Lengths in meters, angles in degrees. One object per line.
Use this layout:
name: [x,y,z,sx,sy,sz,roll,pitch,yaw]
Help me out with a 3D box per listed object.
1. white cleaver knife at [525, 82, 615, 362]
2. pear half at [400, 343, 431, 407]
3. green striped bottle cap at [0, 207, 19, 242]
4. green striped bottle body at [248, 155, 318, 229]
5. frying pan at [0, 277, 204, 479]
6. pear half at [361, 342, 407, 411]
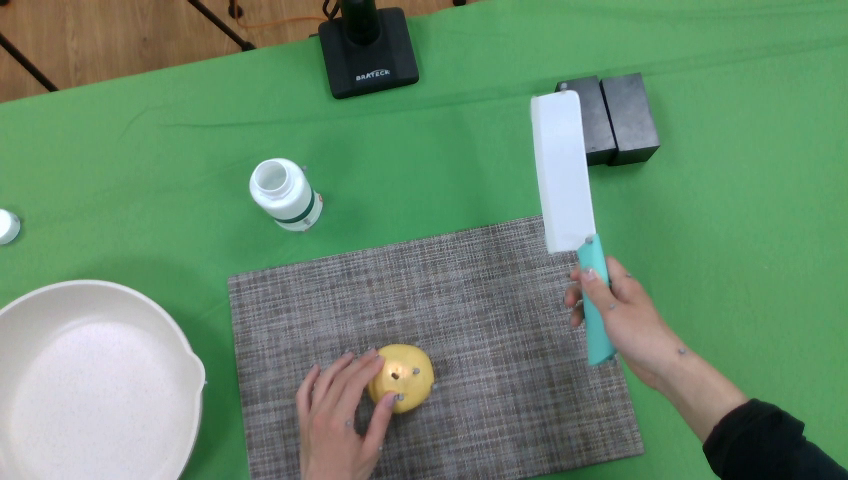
white cleaver knife: [0.149,-0.016,0.623,0.065,0.021,0.286,-8,90,44]
pear half: [-0.008,0.150,0.679,0.031,0.088,0.070,-6,72,1]
green striped bottle cap: [-0.544,-0.021,0.773,0.044,0.020,0.044,0,76,2]
green striped bottle body: [-0.169,-0.058,0.722,0.063,0.120,0.063,0,75,2]
frying pan: [-0.363,0.282,0.651,0.307,0.103,0.484,-16,68,-2]
pear half: [-0.044,0.150,0.669,0.056,0.110,0.076,-6,72,1]
